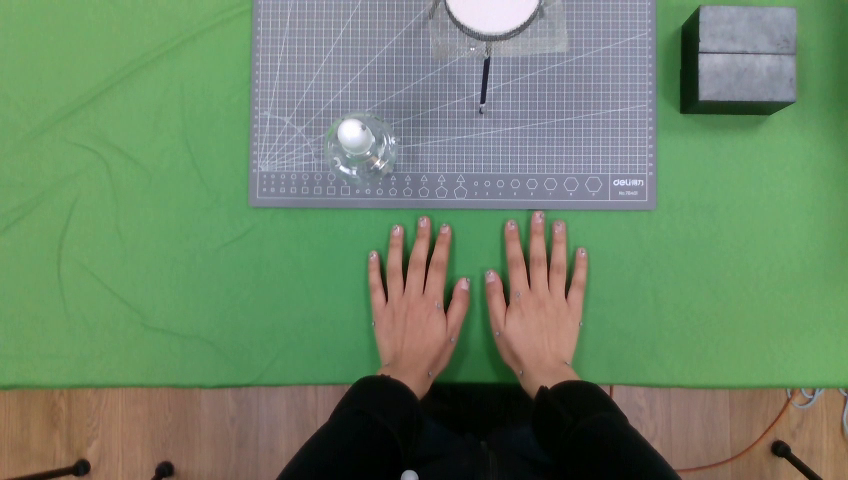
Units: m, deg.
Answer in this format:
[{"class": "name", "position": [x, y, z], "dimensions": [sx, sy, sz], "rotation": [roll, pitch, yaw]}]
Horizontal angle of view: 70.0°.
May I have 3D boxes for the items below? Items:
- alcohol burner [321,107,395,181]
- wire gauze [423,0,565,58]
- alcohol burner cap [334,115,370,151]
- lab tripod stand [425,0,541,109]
[{"class": "alcohol burner", "position": [-0.069, -0.102, 0.619], "dimensions": [0.078, 0.119, 0.078], "rotation": [0, 86, 0]}, {"class": "wire gauze", "position": [0.060, -0.226, 0.545], "dimensions": [0.125, 0.011, 0.121], "rotation": [-5, 87, 0]}, {"class": "alcohol burner cap", "position": [-0.071, -0.105, 0.583], "dimensions": [0.034, 0.048, 0.034], "rotation": [0, 90, -1]}, {"class": "lab tripod stand", "position": [0.064, -0.224, 0.612], "dimensions": [0.148, 0.132, 0.148], "rotation": [0, 85, 1]}]
